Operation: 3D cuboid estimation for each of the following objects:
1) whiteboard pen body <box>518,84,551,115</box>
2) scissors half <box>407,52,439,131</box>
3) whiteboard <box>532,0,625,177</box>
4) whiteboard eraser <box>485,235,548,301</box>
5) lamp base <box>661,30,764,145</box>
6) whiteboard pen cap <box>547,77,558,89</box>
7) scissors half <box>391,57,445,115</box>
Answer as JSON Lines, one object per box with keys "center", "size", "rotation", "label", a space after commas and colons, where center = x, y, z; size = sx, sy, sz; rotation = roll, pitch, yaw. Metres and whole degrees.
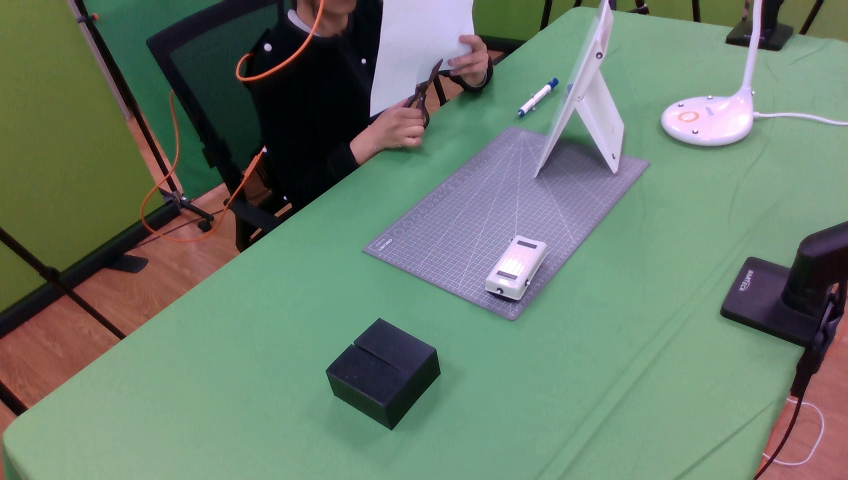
{"center": [0.242, -0.306, 1.290], "size": [0.017, 0.017, 0.141], "rotation": [24, 52, 33], "label": "whiteboard pen body"}
{"center": [0.003, -0.282, 1.163], "size": [0.040, 0.175, 0.013], "rotation": [32, 42, 15], "label": "scissors half"}
{"center": [0.320, -0.259, 1.050], "size": [0.144, 0.306, 0.217], "rotation": [21, 45, 5], "label": "whiteboard"}
{"center": [0.137, 0.042, 0.887], "size": [0.055, 0.042, 0.113], "rotation": [15, 45, 27], "label": "whiteboard eraser"}
{"center": [0.535, -0.287, 1.096], "size": [0.179, 0.181, 0.159], "rotation": [-10, 40, -4], "label": "lamp base"}
{"center": [0.279, -0.341, 1.321], "size": [0.018, 0.018, 0.033], "rotation": [22, 51, 31], "label": "whiteboard pen cap"}
{"center": [-0.013, -0.299, 1.166], "size": [0.174, 0.040, 0.013], "rotation": [-32, 2, 45], "label": "scissors half"}
